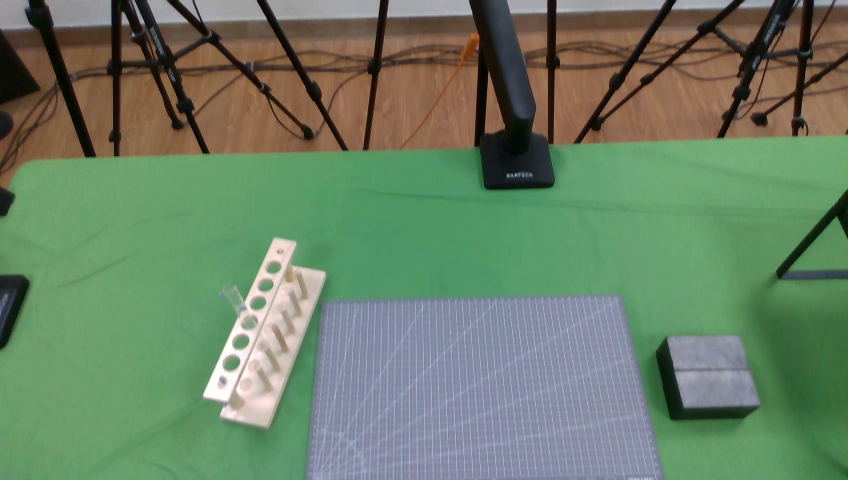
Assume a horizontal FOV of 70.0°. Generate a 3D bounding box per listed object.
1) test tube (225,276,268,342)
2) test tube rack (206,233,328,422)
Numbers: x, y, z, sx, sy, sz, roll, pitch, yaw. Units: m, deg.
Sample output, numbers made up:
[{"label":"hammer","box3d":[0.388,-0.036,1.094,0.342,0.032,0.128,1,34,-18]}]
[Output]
[{"label":"test tube","box3d":[-0.229,0.094,0.791,0.017,0.151,0.017,-2,53,3]},{"label":"test tube rack","box3d":[-0.207,0.115,0.835,0.066,0.086,0.240,11,57,7]}]
